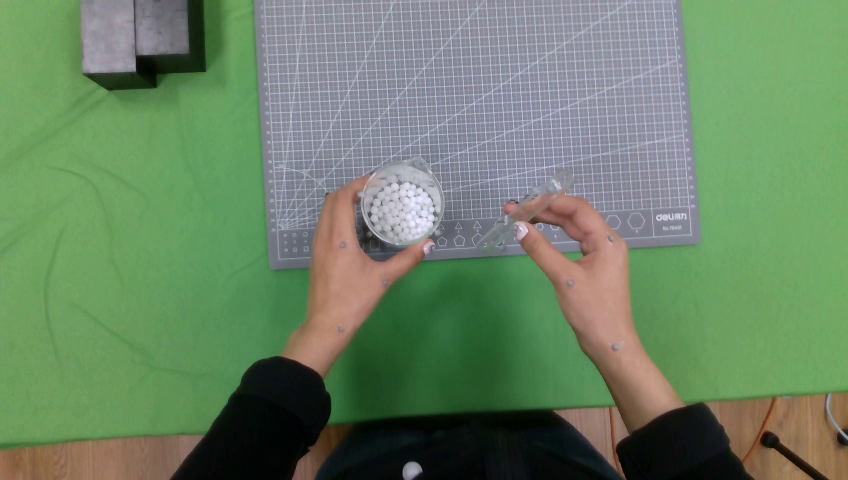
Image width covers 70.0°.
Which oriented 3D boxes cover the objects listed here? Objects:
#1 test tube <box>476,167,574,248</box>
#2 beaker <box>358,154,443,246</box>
[{"bbox_3d":[0.077,-0.022,0.497,0.017,0.150,0.017,7,69,-17],"label":"test tube"},{"bbox_3d":[-0.021,-0.034,0.577,0.074,0.100,0.084,20,85,-2],"label":"beaker"}]
